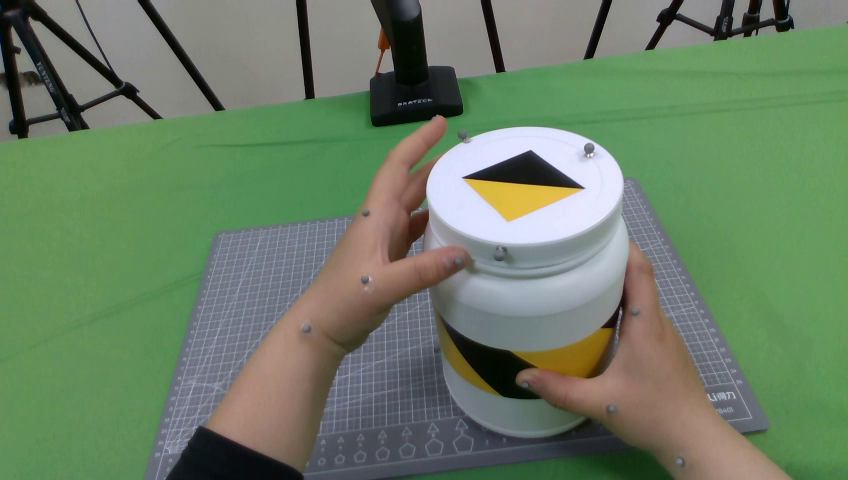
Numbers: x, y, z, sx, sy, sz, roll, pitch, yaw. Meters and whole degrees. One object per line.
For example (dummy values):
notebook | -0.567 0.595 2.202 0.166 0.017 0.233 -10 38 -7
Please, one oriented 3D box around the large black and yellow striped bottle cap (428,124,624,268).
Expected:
large black and yellow striped bottle cap | 0.059 -0.030 0.360 0.115 0.019 0.114 -5 43 6

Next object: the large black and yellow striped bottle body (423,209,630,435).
large black and yellow striped bottle body | 0.069 0.032 0.417 0.131 0.186 0.129 -5 42 5
